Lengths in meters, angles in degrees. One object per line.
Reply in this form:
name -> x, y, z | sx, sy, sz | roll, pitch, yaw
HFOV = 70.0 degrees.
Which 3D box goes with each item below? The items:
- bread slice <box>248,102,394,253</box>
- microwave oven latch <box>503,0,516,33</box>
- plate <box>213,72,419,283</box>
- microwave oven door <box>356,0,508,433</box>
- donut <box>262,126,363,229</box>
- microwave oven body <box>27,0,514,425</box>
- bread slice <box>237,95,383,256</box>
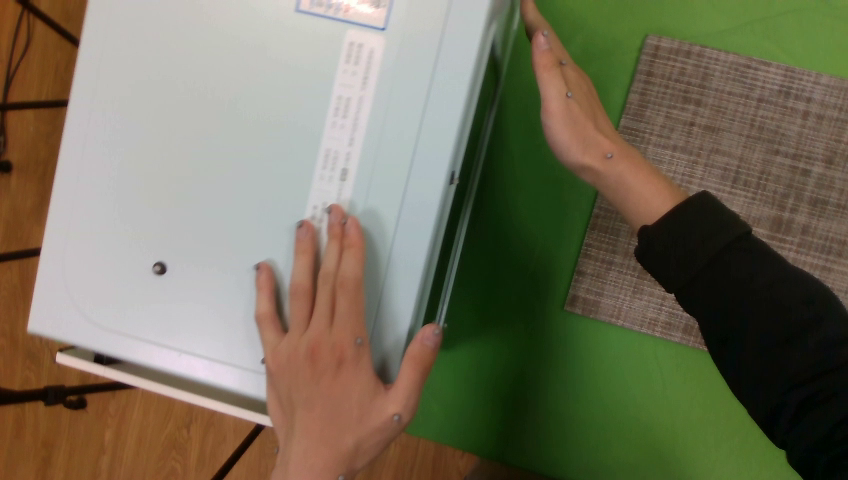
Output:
bread slice -> -0.111, -0.067, 0.605 | 0.107, 0.018, 0.134 | -34, 92, 0
microwave oven latch -> 0.082, -0.254, 0.616 | 0.030, 0.029, 0.079 | 13, 96, 7
plate -> -0.106, -0.061, 0.610 | 0.207, 0.039, 0.207 | 0, 93, 6
microwave oven door -> 0.015, -0.038, 0.536 | 0.039, 0.244, 0.356 | 13, 95, 9
donut -> -0.107, -0.060, 0.581 | 0.099, 0.048, 0.099 | 0, 93, 3
microwave oven body -> -0.116, -0.113, 0.557 | 0.325, 0.260, 0.442 | 13, 96, 7
bread slice -> -0.114, -0.063, 0.555 | 0.105, 0.019, 0.131 | -29, 91, 11
